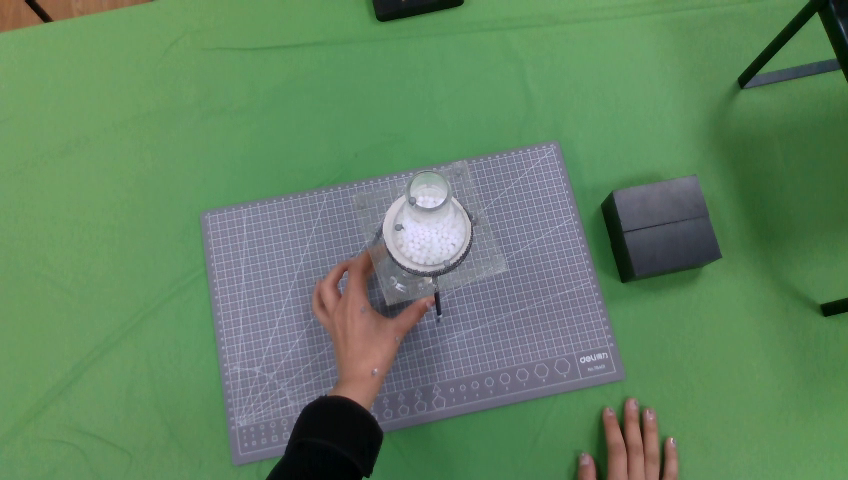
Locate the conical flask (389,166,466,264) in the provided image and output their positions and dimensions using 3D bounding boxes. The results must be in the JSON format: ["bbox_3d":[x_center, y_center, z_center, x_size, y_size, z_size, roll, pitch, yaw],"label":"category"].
[{"bbox_3d":[0.003,-0.027,0.537,0.075,0.122,0.075,0,75,0],"label":"conical flask"}]

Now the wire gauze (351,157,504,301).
[{"bbox_3d":[0.003,-0.012,0.595,0.125,0.011,0.121,-16,79,-7],"label":"wire gauze"}]

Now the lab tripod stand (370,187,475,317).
[{"bbox_3d":[0.005,0.002,0.659,0.148,0.132,0.147,0,75,0],"label":"lab tripod stand"}]

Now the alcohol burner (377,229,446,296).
[{"bbox_3d":[-0.013,0.021,0.664,0.078,0.119,0.077,0,75,-1],"label":"alcohol burner"}]
